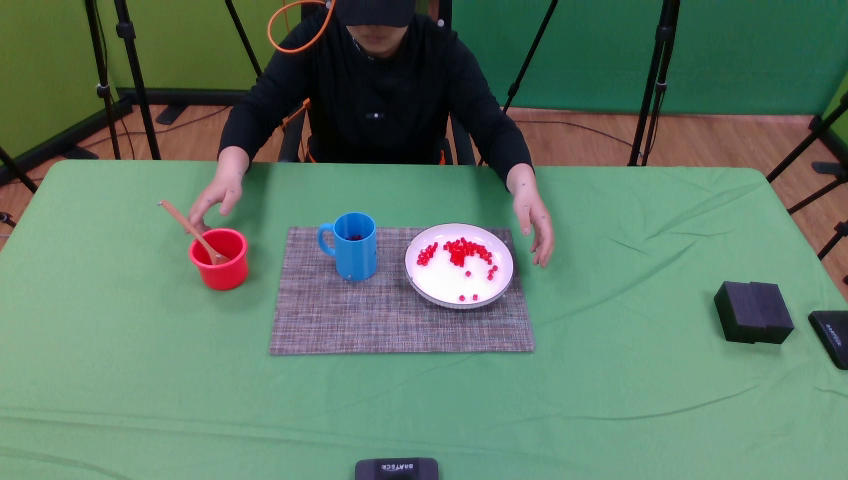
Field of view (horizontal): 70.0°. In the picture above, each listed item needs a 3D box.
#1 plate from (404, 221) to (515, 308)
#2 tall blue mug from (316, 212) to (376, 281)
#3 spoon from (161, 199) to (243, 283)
[{"bbox_3d":[0.065,0.049,1.140,0.208,0.039,0.206,2,46,-2],"label":"plate"},{"bbox_3d":[-0.142,0.014,1.109,0.107,0.108,0.077,-5,47,-8],"label":"tall blue mug"},{"bbox_3d":[-0.397,0.001,1.083,0.194,0.021,0.041,53,57,-15],"label":"spoon"}]
